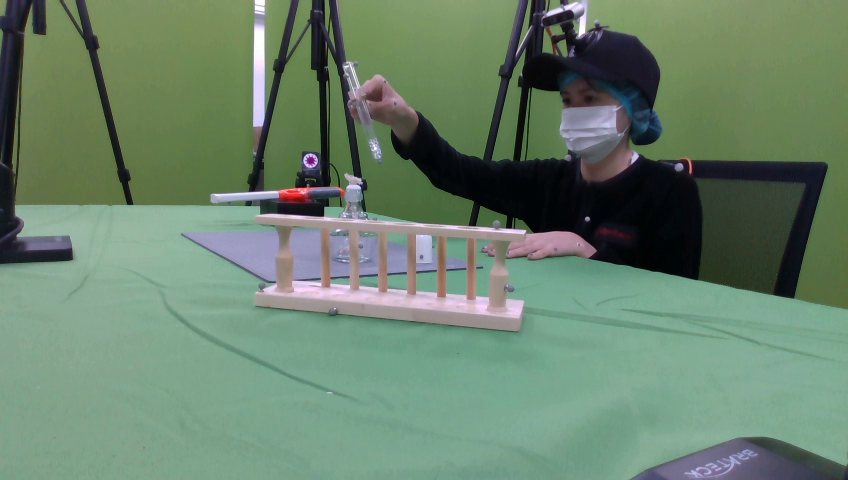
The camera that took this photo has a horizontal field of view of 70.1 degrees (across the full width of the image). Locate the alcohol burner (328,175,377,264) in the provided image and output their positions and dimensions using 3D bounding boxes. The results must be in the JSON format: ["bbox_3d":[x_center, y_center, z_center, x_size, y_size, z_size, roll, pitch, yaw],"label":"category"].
[{"bbox_3d":[-0.098,-0.028,0.819,0.078,0.119,0.078,1,8,0],"label":"alcohol burner"}]

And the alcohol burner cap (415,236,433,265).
[{"bbox_3d":[-0.004,0.011,0.835,0.034,0.048,0.034,2,7,0],"label":"alcohol burner cap"}]

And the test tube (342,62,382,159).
[{"bbox_3d":[-0.090,-0.189,0.884,0.017,0.150,0.017,-18,-4,-1],"label":"test tube"}]

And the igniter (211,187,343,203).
[{"bbox_3d":[-0.300,-0.094,1.266,0.278,0.025,0.057,-6,12,-34],"label":"igniter"}]

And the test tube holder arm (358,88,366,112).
[{"bbox_3d":[-0.093,-0.208,0.908,0.010,0.015,0.088,-16,-2,-6],"label":"test tube holder arm"}]

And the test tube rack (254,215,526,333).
[{"bbox_3d":[-0.030,0.025,0.557,0.242,0.085,0.067,4,7,12],"label":"test tube rack"}]

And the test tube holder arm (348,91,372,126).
[{"bbox_3d":[-0.099,-0.205,0.953,0.013,0.015,0.178,-16,-2,1],"label":"test tube holder arm"}]
